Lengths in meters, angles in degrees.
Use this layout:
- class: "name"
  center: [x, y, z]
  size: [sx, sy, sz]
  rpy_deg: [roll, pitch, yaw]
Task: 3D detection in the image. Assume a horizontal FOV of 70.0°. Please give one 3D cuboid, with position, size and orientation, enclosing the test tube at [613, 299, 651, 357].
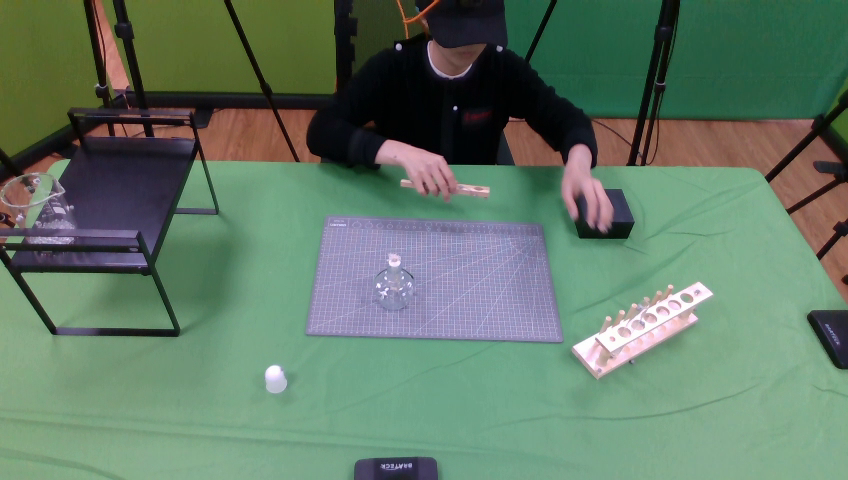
- class: "test tube"
  center: [0.328, 0.143, 0.962]
  size: [0.017, 0.151, 0.017]
  rpy_deg: [3, 48, -3]

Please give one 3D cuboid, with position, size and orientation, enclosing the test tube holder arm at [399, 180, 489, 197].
- class: "test tube holder arm"
  center: [0.039, -0.103, 1.205]
  size: [0.178, 0.015, 0.013]
  rpy_deg: [6, 41, 5]

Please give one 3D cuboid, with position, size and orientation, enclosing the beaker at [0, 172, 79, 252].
- class: "beaker"
  center: [-0.557, -0.038, 0.889]
  size: [0.084, 0.101, 0.073]
  rpy_deg: [-3, 47, -8]

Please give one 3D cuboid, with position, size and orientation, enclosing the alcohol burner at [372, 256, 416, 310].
- class: "alcohol burner"
  center: [-0.052, 0.068, 1.057]
  size: [0.078, 0.120, 0.077]
  rpy_deg: [1, 48, -1]

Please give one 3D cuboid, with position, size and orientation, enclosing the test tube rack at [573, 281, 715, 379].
- class: "test tube rack"
  center: [0.378, 0.140, 1.038]
  size: [0.242, 0.085, 0.066]
  rpy_deg: [-22, 51, -23]

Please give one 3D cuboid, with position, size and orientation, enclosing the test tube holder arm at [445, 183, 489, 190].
- class: "test tube holder arm"
  center: [0.085, -0.102, 1.205]
  size: [0.088, 0.015, 0.010]
  rpy_deg: [6, 41, 5]

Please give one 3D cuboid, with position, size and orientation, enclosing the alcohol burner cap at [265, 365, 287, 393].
- class: "alcohol burner cap"
  center: [-0.236, 0.216, 0.956]
  size: [0.034, 0.048, 0.033]
  rpy_deg: [3, 45, -3]
